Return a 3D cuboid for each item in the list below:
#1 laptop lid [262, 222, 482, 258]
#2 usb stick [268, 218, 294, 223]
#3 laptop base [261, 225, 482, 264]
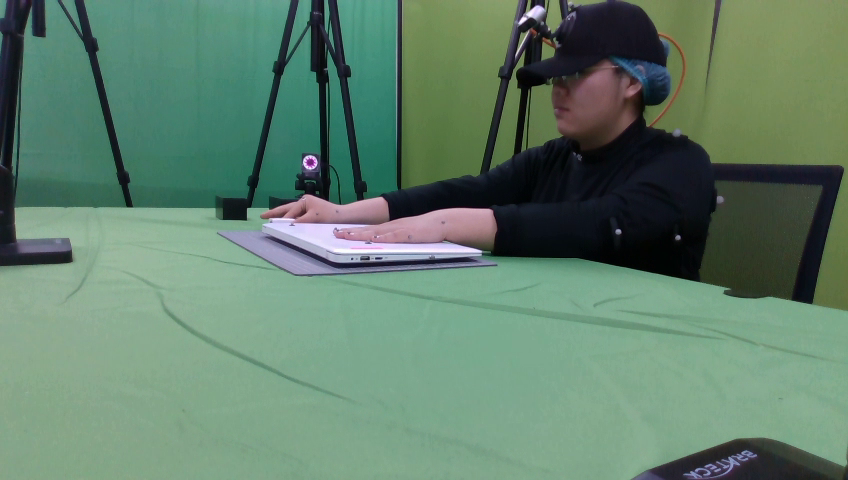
[{"bbox_3d":[-0.098,-0.003,0.965,0.243,0.013,0.355,2,7,-29],"label":"laptop lid"},{"bbox_3d":[-0.272,-0.027,1.119,0.059,0.027,0.021,-7,12,-34],"label":"usb stick"},{"bbox_3d":[-0.101,0.007,0.965,0.237,0.023,0.352,2,6,-31],"label":"laptop base"}]
